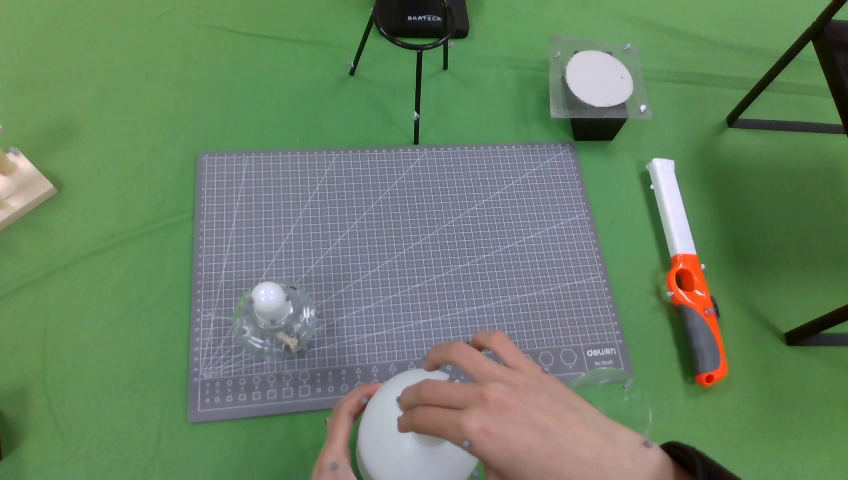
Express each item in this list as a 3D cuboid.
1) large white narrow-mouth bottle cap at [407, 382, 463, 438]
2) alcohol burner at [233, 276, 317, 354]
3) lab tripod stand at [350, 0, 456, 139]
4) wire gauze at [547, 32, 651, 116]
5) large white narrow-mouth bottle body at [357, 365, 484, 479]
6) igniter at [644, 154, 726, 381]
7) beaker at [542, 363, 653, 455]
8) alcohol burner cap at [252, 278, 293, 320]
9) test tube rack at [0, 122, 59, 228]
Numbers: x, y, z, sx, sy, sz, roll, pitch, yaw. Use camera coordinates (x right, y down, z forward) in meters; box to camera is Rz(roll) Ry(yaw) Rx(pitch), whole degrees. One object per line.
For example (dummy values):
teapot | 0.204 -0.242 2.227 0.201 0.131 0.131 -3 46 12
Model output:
large white narrow-mouth bottle cap | 0.007 0.118 0.420 0.038 0.024 0.037 3 65 -6
alcohol burner | -0.140 0.064 0.565 0.078 0.120 0.077 4 64 -8
lab tripod stand | -0.015 -0.214 0.701 0.149 0.132 0.147 4 66 -8
wire gauze | 0.211 -0.202 0.743 0.122 0.011 0.124 4 65 -6
large white narrow-mouth bottle body | -0.004 0.158 0.501 0.102 0.196 0.101 3 64 -6
igniter | 0.298 0.024 0.696 0.057 0.025 0.274 4 66 -18
beaker | 0.156 0.163 0.574 0.084 0.101 0.073 28 65 6
alcohol burner cap | -0.135 0.051 0.532 0.034 0.048 0.033 2 71 -4
test tube rack | -0.490 -0.017 0.571 0.066 0.085 0.242 42 67 11
